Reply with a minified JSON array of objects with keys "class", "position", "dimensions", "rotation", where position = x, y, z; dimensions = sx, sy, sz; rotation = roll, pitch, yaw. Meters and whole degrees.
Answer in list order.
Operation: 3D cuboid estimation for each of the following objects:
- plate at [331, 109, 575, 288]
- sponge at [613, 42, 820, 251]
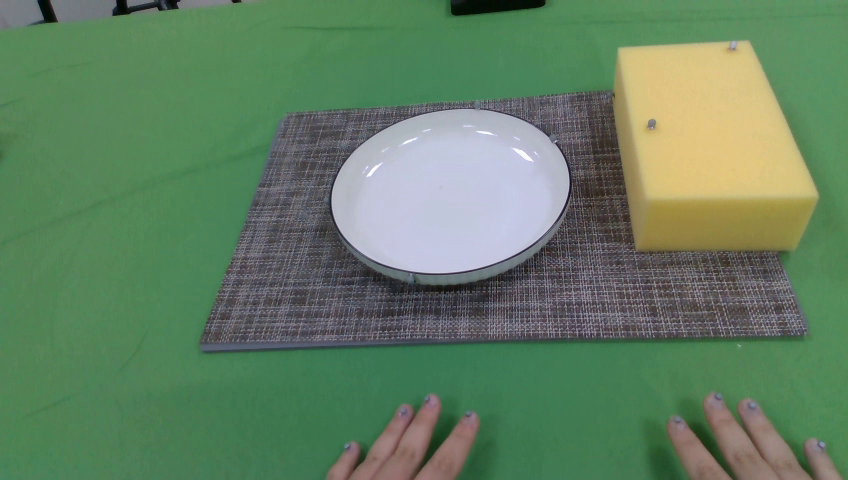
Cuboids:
[{"class":"plate","position":[0.025,-0.037,0.527],"dimensions":[0.207,0.039,0.205],"rotation":[-5,48,6]},{"class":"sponge","position":[0.233,-0.086,0.517],"dimensions":[0.118,0.061,0.205],"rotation":[-1,48,9]}]
